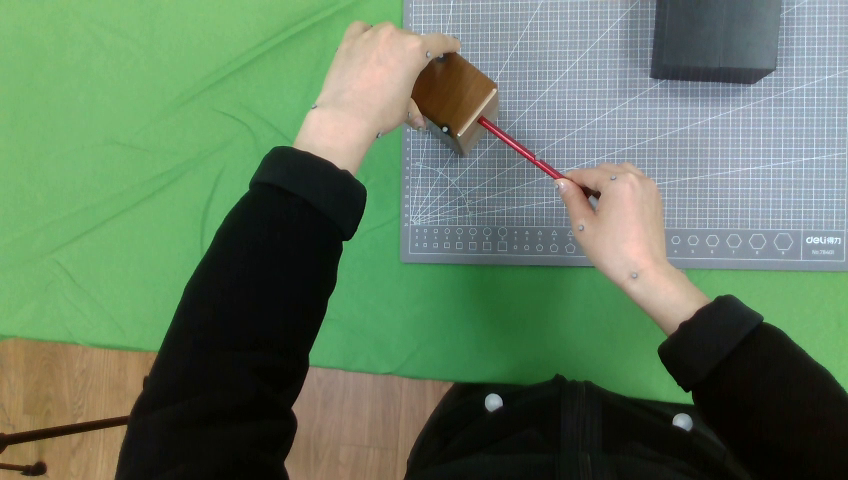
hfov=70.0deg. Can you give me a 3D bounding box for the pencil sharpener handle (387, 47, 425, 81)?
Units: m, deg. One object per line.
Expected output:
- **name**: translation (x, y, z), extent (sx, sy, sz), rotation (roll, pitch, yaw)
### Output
- **pencil sharpener handle**: translation (-0.021, -0.167, 0.571), extent (0.030, 0.068, 0.036), rotation (41, 80, 5)

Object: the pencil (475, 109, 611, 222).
- **pencil**: translation (0.090, -0.081, 0.545), extent (0.193, 0.012, 0.012), rotation (42, 94, 9)

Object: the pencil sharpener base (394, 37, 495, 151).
- **pencil sharpener base**: translation (0.021, -0.137, 0.580), extent (0.076, 0.107, 0.061), rotation (41, 95, 5)
